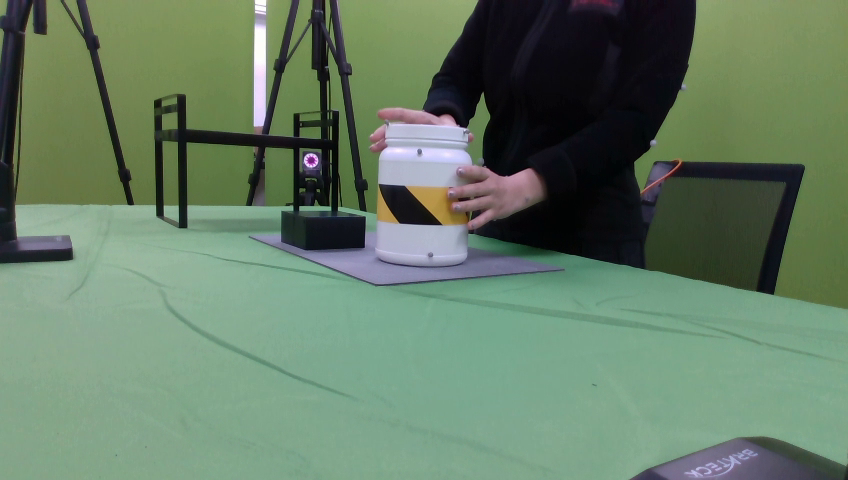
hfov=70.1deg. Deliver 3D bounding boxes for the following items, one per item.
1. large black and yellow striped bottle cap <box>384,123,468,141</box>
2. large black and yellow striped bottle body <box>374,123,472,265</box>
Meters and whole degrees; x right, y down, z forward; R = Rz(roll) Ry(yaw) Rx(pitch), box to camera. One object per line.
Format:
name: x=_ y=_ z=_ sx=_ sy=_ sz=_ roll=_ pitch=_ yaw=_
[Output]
large black and yellow striped bottle cap: x=0.003 y=-0.147 z=0.827 sx=0.115 sy=0.019 sz=0.115 roll=3 pitch=9 yaw=0
large black and yellow striped bottle body: x=0.000 y=-0.065 z=0.836 sx=0.131 sy=0.184 sz=0.130 roll=3 pitch=7 yaw=0
